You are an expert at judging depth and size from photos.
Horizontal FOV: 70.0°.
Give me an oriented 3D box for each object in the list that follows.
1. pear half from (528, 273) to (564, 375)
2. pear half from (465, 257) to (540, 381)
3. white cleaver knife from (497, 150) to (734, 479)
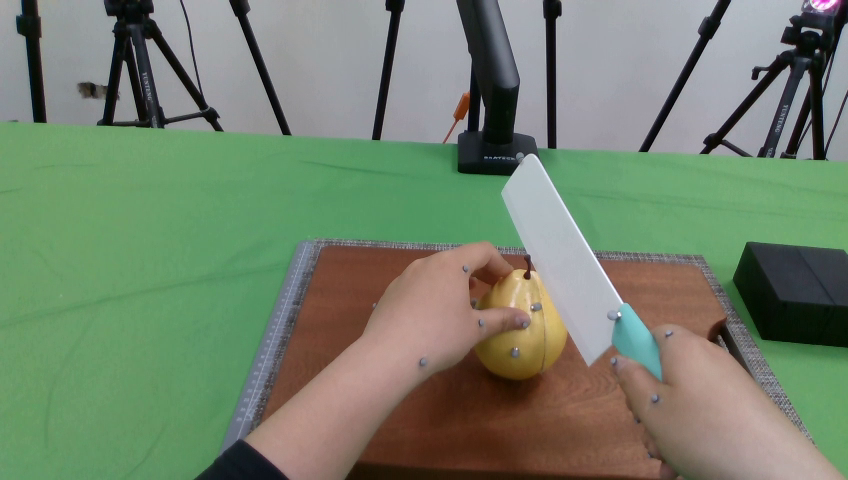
[{"bbox_3d":[0.097,0.066,0.492,0.031,0.088,0.070,-7,27,-12],"label":"pear half"},{"bbox_3d":[0.062,0.060,0.481,0.056,0.110,0.075,-6,31,-12],"label":"pear half"},{"bbox_3d":[0.114,0.051,0.411,0.021,0.066,0.283,-3,51,-24],"label":"white cleaver knife"}]
